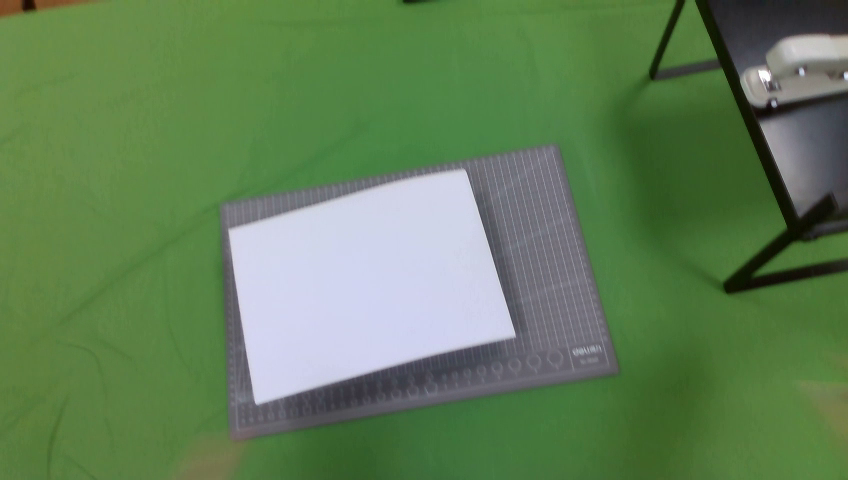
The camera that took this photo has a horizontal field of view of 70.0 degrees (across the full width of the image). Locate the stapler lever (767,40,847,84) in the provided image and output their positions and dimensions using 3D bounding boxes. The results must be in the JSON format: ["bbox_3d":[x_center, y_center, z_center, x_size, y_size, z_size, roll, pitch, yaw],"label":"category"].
[{"bbox_3d":[0.378,-0.169,0.561,0.118,0.040,0.026,-11,72,-1],"label":"stapler lever"}]

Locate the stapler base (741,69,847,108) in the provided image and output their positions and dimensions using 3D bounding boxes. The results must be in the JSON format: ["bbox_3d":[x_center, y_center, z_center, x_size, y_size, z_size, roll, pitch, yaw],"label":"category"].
[{"bbox_3d":[0.378,-0.160,0.585,0.130,0.024,0.041,-11,72,-1],"label":"stapler base"}]
